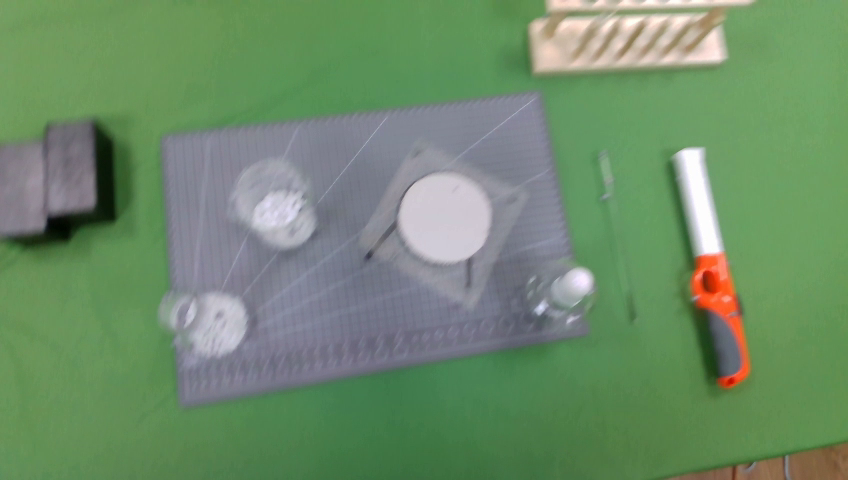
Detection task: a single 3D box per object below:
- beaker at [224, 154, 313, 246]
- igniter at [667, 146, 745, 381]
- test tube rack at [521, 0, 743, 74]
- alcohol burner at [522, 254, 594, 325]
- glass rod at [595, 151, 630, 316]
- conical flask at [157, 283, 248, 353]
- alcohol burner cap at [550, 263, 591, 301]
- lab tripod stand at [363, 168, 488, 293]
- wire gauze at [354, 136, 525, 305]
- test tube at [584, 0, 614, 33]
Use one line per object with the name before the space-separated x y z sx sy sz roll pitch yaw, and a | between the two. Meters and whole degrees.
beaker | -0.159 -0.036 0.637 0.084 0.100 0.073 -25 80 -9
igniter | 0.328 0.022 0.706 0.057 0.025 0.275 -4 78 -16
test tube rack | 0.248 -0.258 0.731 0.243 0.085 0.066 -5 77 -6
alcohol burner | 0.145 0.049 0.637 0.078 0.119 0.077 0 77 -2
glass rod | 0.222 -0.009 0.714 0.008 0.008 0.199 -7 81 -7
conical flask | -0.222 0.071 0.596 0.075 0.122 0.075 1 77 -4
alcohol burner cap | 0.147 0.039 0.603 0.034 0.048 0.033 2 71 -6
lab tripod stand | 0.008 -0.009 0.628 0.148 0.132 0.147 1 79 -3
wire gauze | 0.016 -0.022 0.563 0.125 0.011 0.121 28 78 2
test tube | 0.212 -0.280 0.682 0.017 0.150 0.017 2 76 -8
